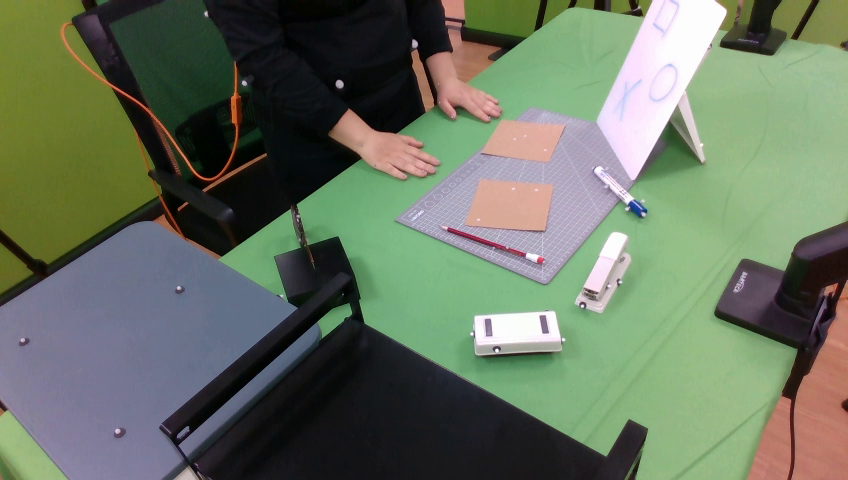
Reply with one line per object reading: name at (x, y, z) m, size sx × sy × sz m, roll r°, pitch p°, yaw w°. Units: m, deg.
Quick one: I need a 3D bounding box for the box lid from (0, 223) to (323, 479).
box lid at (-0.318, 0.109, 0.671) m, size 0.368 × 0.015 × 0.264 m, roll 24°, pitch 50°, yaw 31°

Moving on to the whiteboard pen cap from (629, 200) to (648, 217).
whiteboard pen cap at (0.348, -0.052, 0.984) m, size 0.018 × 0.018 × 0.033 m, roll -18°, pitch 41°, yaw -12°

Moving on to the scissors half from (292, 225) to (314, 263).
scissors half at (-0.188, 0.007, 0.955) m, size 0.013 × 0.040 × 0.174 m, roll -21°, pitch 22°, yaw -13°

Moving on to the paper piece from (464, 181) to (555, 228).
paper piece at (0.149, -0.062, 1.035) m, size 0.137 × 0.009 × 0.136 m, roll 4°, pitch 37°, yaw 17°

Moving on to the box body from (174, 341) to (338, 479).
box body at (-0.311, 0.165, 0.720) m, size 0.361 × 0.161 × 0.255 m, roll 23°, pitch 49°, yaw 32°

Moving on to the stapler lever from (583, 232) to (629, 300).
stapler lever at (0.260, 0.034, 0.858) m, size 0.026 × 0.040 × 0.118 m, roll 16°, pitch 46°, yaw 30°

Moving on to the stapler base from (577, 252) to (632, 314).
stapler base at (0.264, 0.051, 0.875) m, size 0.041 × 0.024 × 0.131 m, roll 16°, pitch 47°, yaw 30°

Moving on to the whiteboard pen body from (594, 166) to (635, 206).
whiteboard pen body at (0.330, -0.085, 1.027) m, size 0.017 × 0.017 × 0.139 m, roll -17°, pitch 41°, yaw -10°

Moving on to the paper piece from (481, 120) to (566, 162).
paper piece at (0.197, -0.199, 1.188) m, size 0.135 × 0.004 × 0.135 m, roll 11°, pitch 44°, yaw 21°

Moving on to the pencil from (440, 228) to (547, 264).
pencil at (0.105, 0.007, 0.958) m, size 0.192 × 0.012 × 0.012 m, roll 18°, pitch 46°, yaw 30°

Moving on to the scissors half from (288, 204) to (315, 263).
scissors half at (-0.191, -0.010, 0.945) m, size 0.013 × 0.040 × 0.173 m, roll -16°, pitch 37°, yaw -16°

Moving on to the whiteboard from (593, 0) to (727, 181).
whiteboard at (0.452, -0.272, 1.056) m, size 0.144 × 0.305 × 0.216 m, roll 9°, pitch 38°, yaw -12°

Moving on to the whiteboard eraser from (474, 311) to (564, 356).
whiteboard eraser at (0.123, 0.125, 0.794) m, size 0.113 × 0.042 × 0.055 m, roll -5°, pitch 38°, yaw 3°
